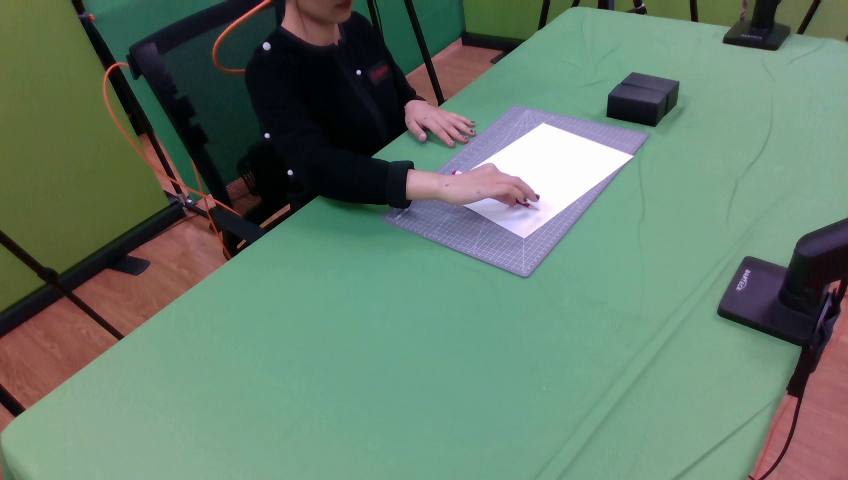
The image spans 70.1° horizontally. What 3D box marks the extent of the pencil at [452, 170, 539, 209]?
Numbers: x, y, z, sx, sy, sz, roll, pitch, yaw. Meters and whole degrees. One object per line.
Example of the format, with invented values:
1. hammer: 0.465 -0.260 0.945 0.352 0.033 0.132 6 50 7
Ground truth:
1. pencil: 0.123 -0.089 1.068 0.192 0.012 0.012 28 53 34
